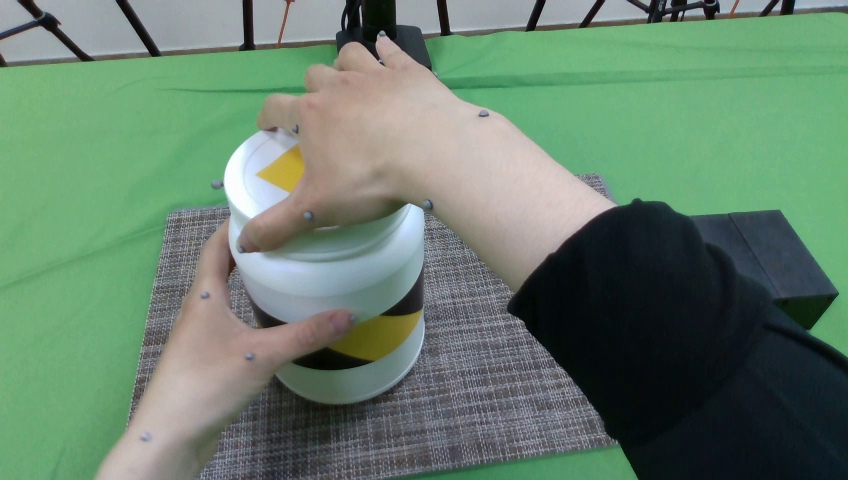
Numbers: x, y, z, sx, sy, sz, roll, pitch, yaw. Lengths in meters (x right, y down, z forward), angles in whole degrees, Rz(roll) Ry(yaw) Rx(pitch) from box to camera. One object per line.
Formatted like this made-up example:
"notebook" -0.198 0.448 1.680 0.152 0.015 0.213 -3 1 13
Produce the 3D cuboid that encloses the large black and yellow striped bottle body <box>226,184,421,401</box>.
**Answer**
"large black and yellow striped bottle body" -0.067 0.017 0.441 0.131 0.185 0.129 0 47 0

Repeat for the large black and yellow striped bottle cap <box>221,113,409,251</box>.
"large black and yellow striped bottle cap" -0.067 -0.040 0.379 0.115 0.019 0.114 0 46 1
